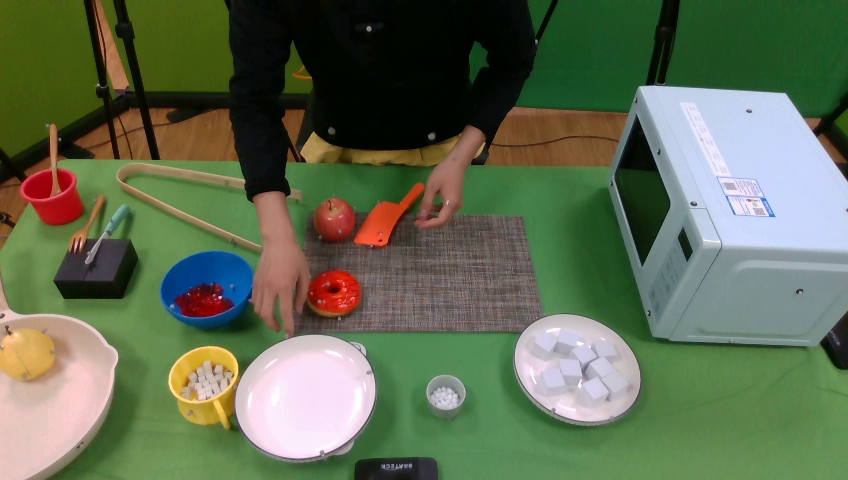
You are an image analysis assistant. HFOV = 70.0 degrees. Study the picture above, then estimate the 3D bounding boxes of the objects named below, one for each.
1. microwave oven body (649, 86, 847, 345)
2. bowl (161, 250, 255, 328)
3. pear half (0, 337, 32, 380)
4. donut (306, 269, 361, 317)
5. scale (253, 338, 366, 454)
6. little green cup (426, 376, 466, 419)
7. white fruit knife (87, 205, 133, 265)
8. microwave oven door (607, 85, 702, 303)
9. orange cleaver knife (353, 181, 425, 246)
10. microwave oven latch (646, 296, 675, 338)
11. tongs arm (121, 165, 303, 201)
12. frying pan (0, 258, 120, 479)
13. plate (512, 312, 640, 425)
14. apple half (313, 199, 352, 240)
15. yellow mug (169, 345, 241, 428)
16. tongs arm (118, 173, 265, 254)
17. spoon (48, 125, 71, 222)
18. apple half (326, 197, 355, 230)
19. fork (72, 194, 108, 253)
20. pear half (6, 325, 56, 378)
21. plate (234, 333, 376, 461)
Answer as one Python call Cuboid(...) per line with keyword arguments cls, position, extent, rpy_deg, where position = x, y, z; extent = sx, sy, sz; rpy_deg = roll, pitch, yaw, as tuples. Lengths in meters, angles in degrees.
Cuboid(cls="microwave oven body", position=(0.567, -0.053, 1.118), extent=(0.326, 0.261, 0.439), rpy_deg=(2, 45, -1))
Cuboid(cls="bowl", position=(-0.362, 0.098, 1.040), extent=(0.151, 0.077, 0.150), rpy_deg=(2, 45, -2))
Cuboid(cls="pear half", position=(-0.631, 0.184, 0.921), extent=(0.070, 0.088, 0.031), rpy_deg=(29, 49, 19))
Cuboid(cls="donut", position=(-0.160, 0.094, 1.075), extent=(0.099, 0.048, 0.098), rpy_deg=(3, 45, -3))
Cuboid(cls="scale", position=(-0.175, 0.236, 0.951), extent=(0.149, 0.032, 0.199), rpy_deg=(4, 46, 0))
Cuboid(cls="little green cup", position=(0.033, 0.248, 0.950), extent=(0.061, 0.039, 0.061), rpy_deg=(2, 46, -2))
Cuboid(cls="white fruit knife", position=(-0.584, -0.013, 1.129), extent=(0.016, 0.027, 0.206), rpy_deg=(0, 31, -5))
Cuboid(cls="microwave oven door", position=(0.423, -0.094, 1.140), extent=(0.039, 0.245, 0.353), rpy_deg=(2, 46, -1))
Cuboid(cls="orange cleaver knife", position=(-0.069, -0.059, 1.245), extent=(0.077, 0.012, 0.210), rpy_deg=(18, 50, 21))
Cuboid(cls="microwave oven latch", position=(0.412, 0.134, 1.061), extent=(0.030, 0.029, 0.078), rpy_deg=(4, 45, 1))
Cuboid(cls="tongs arm", position=(-0.444, -0.113, 1.267), extent=(0.384, 0.026, 0.050), rpy_deg=(11, 51, 8))
Cuboid(cls="frying pan", position=(-0.647, 0.164, 0.936), extent=(0.307, 0.103, 0.485), rpy_deg=(-19, 58, -22))
Cuboid(cls="plate", position=(0.246, 0.213, 0.999), extent=(0.208, 0.039, 0.206), rpy_deg=(2, 46, -2))
Cuboid(cls="apple half", position=(-0.185, -0.033, 1.176), extent=(0.080, 0.075, 0.053), rpy_deg=(36, 57, 22))
Cuboid(cls="yellow mug", position=(-0.322, 0.230, 0.922), extent=(0.100, 0.064, 0.130), rpy_deg=(-24, 53, -25))
Cuboid(cls="tongs arm", position=(-0.473, -0.053, 1.212), extent=(0.386, 0.028, 0.028), rpy_deg=(23, 57, 18))
Cuboid(cls="spoon", position=(-0.718, -0.131, 1.188), extent=(0.041, 0.021, 0.193), rpy_deg=(-4, 90, -6))
Cuboid(cls="apple half", position=(-0.159, -0.054, 1.196), extent=(0.081, 0.082, 0.033), rpy_deg=(34, 57, 26))
Cuboid(cls="fork", position=(-0.634, -0.036, 1.158), extent=(0.028, 0.019, 0.206), rpy_deg=(-8, 32, -8))
Cuboid(cls="pear half", position=(-0.608, 0.158, 0.935), extent=(0.076, 0.110, 0.056), rpy_deg=(31, 51, 20))
Cuboid(cls="plate", position=(-0.175, 0.235, 0.907), extent=(0.209, 0.038, 0.208), rpy_deg=(2, 46, -2))
